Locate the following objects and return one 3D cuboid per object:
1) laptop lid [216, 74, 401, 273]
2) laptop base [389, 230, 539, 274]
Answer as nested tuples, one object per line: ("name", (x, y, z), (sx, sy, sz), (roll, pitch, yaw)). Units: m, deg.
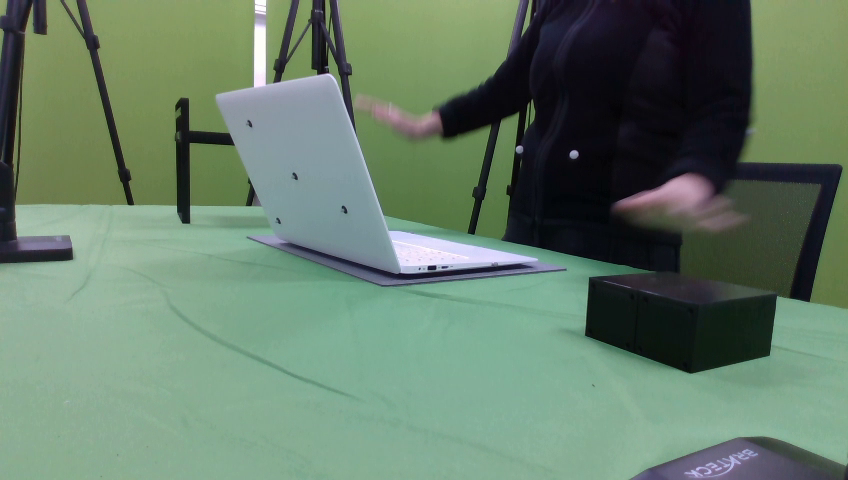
("laptop lid", (-0.164, -0.085, 0.780), (0.013, 0.242, 0.355), (-32, 27, -30))
("laptop base", (-0.037, 0.014, 0.895), (0.237, 0.023, 0.352), (1, 7, -38))
